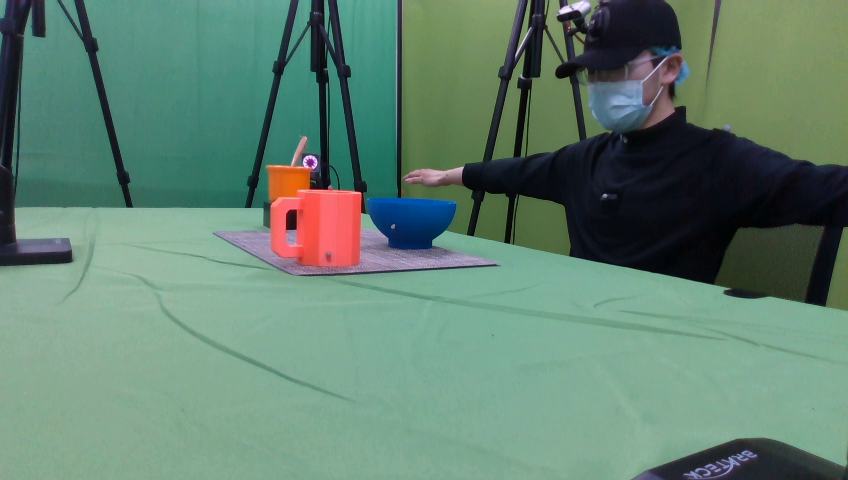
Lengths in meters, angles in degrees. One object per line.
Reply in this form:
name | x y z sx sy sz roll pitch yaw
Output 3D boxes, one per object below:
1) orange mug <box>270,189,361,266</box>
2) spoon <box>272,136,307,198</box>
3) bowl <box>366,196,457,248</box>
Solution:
orange mug | -0.142 -0.019 0.796 0.127 0.100 0.083 2 5 -39
spoon | -0.269 -0.152 1.242 0.041 0.193 0.022 1 -37 12
bowl | -0.022 -0.030 1.001 0.151 0.077 0.151 2 7 0
